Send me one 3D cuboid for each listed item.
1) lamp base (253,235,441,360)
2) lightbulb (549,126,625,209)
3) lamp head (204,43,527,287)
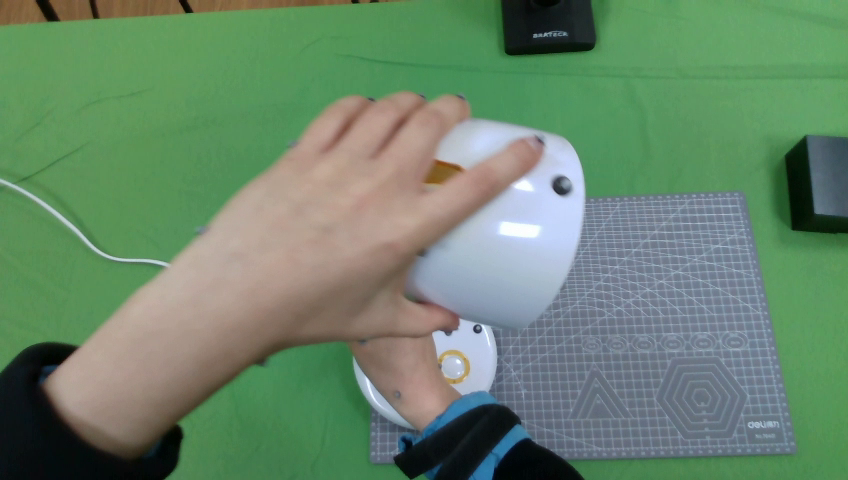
[{"bbox_3d":[-0.077,0.029,0.560,0.179,0.181,0.160,2,80,4],"label":"lamp base"},{"bbox_3d":[0.168,-0.080,0.643,0.059,0.060,0.106,-29,66,-4],"label":"lightbulb"},{"bbox_3d":[-0.035,-0.037,0.276,0.124,0.112,0.112,7,78,-35],"label":"lamp head"}]
